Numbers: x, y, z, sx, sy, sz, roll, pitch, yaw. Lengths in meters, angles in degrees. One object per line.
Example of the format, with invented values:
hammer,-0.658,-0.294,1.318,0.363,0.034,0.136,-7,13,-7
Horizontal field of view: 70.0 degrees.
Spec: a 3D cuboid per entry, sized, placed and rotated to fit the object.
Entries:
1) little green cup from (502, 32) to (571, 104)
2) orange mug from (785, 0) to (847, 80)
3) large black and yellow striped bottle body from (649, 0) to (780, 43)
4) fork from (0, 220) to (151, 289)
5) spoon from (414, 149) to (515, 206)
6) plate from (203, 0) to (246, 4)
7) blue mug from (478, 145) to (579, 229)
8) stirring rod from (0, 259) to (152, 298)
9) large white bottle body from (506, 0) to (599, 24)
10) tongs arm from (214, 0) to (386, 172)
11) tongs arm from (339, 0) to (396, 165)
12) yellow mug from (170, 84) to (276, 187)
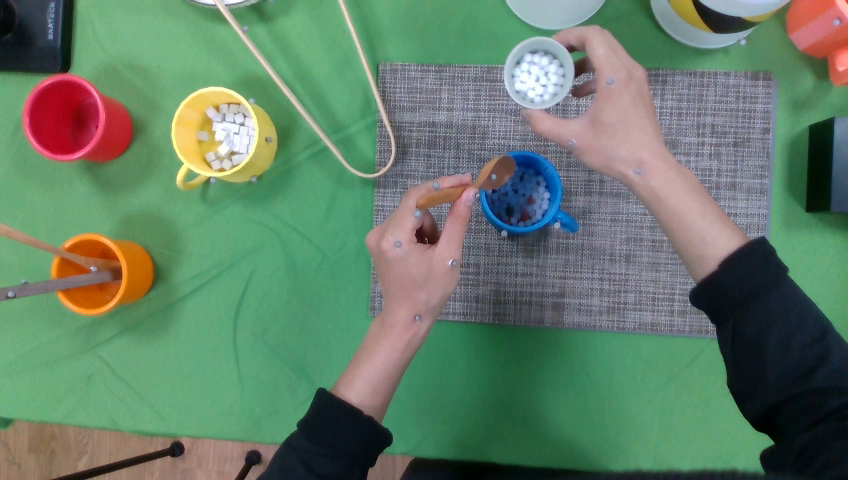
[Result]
little green cup,0.102,-0.153,0.551,0.061,0.038,0.061,1,97,10
orange mug,0.448,-0.237,0.633,0.083,0.101,0.126,-7,86,5
large black and yellow striped bottle body,0.311,-0.287,0.599,0.130,0.184,0.130,0,90,5
fork,-0.407,0.009,0.675,0.209,0.018,0.028,31,88,-40
spoon,0.041,-0.053,0.532,0.021,0.194,0.042,37,117,11
plate,-0.231,-0.379,0.711,0.207,0.039,0.207,0,92,4
blue mug,0.115,-0.045,0.654,0.116,0.106,0.082,31,93,3
stirring rod,-0.400,0.044,0.682,0.177,0.006,0.014,-12,85,-37
large white bottle body,0.141,-0.312,0.611,0.130,0.185,0.130,0,90,5
tongs arm,-0.176,-0.229,0.690,0.051,0.026,0.385,-36,95,1
tongs arm,-0.104,-0.272,0.687,0.028,0.027,0.388,-22,96,-4
yellow mug,-0.241,-0.112,0.703,0.100,0.064,0.131,42,95,2
